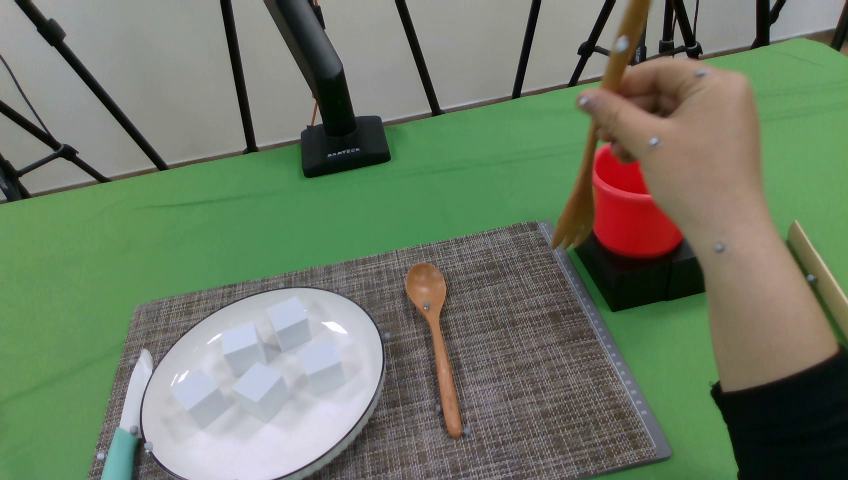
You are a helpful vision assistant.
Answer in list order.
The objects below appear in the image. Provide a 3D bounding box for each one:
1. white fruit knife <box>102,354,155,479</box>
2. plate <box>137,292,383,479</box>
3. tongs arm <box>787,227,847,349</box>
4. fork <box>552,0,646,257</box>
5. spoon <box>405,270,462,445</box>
[{"bbox_3d":[-0.253,0.173,0.518,0.027,0.016,0.205,11,32,-21],"label":"white fruit knife"},{"bbox_3d":[-0.136,0.131,0.526,0.207,0.039,0.205,-5,39,5],"label":"plate"},{"bbox_3d":[0.363,0.118,0.456,0.028,0.028,0.383,-3,40,5],"label":"tongs arm"},{"bbox_3d":[0.109,-0.055,0.388,0.028,0.209,0.018,-3,46,-3],"label":"fork"},{"bbox_3d":[0.011,0.098,0.549,0.042,0.022,0.191,4,37,-12],"label":"spoon"}]
